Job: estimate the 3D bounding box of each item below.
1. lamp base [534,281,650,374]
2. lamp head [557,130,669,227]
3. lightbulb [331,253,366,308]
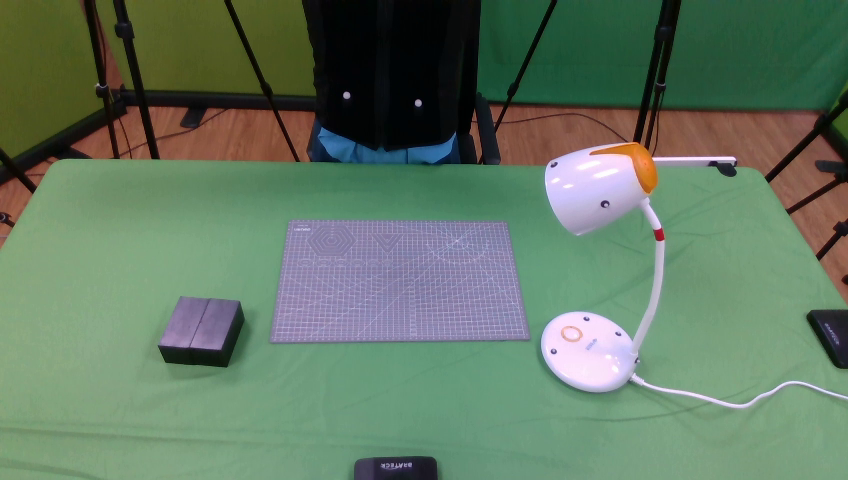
[{"bbox_3d":[0.287,0.113,1.000,0.179,0.181,0.160,13,47,5],"label":"lamp base"},{"bbox_3d":[0.251,-0.085,0.784,0.123,0.113,0.112,-20,38,29],"label":"lamp head"},{"bbox_3d":[-0.131,0.074,1.094,0.059,0.060,0.107,-15,65,-18],"label":"lightbulb"}]
